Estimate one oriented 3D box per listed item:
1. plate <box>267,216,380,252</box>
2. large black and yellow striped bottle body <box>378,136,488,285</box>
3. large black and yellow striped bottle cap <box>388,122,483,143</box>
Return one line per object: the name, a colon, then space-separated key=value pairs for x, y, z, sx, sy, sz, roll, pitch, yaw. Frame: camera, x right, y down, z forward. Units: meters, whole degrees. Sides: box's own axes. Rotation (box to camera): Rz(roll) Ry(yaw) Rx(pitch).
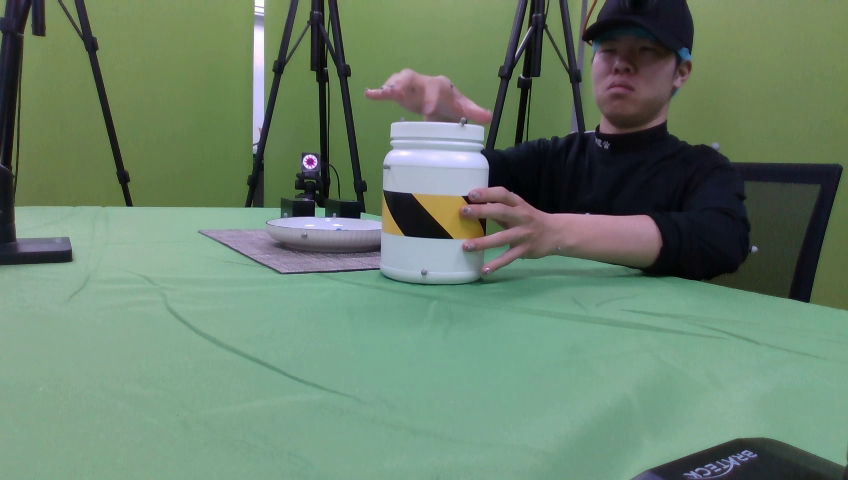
plate: x=-0.145 y=-0.010 z=0.967 sx=0.208 sy=0.039 sz=0.207 roll=2 pitch=7 yaw=0
large black and yellow striped bottle body: x=0.011 y=-0.044 z=0.746 sx=0.131 sy=0.184 sz=0.130 roll=3 pitch=7 yaw=0
large black and yellow striped bottle cap: x=0.014 y=-0.129 z=0.734 sx=0.115 sy=0.019 sz=0.115 roll=4 pitch=7 yaw=0
